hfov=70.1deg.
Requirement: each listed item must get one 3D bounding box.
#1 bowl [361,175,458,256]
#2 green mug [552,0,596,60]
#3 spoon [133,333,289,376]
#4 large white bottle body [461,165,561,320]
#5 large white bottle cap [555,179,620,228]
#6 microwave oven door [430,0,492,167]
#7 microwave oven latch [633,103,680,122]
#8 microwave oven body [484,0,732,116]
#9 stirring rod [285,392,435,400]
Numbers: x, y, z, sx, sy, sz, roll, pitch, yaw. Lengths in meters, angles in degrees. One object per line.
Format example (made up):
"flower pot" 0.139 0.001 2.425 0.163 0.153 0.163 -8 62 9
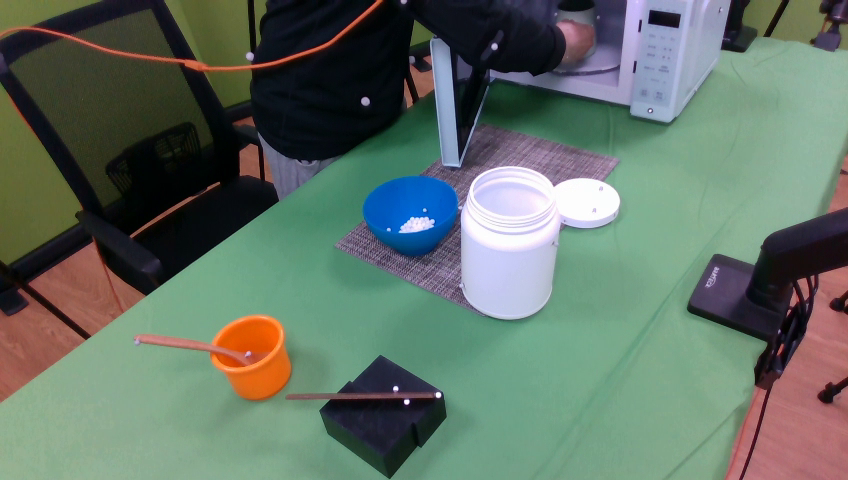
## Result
"bowl" -0.019 -0.028 0.955 0.151 0.077 0.150 -4 40 3
"green mug" 0.314 -0.434 1.271 0.092 0.105 0.125 9 50 16
"spoon" -0.257 0.137 0.747 0.021 0.195 0.041 -47 40 23
"large white bottle body" 0.115 0.004 0.816 0.130 0.185 0.130 -2 43 2
"large white bottle cap" 0.265 -0.062 1.001 0.115 0.018 0.114 -4 41 4
"microwave oven door" 0.079 -0.340 1.159 0.039 0.245 0.355 4 42 15
"microwave oven latch" 0.443 -0.249 1.157 0.078 0.029 0.030 21 49 30
"microwave oven body" 0.377 -0.462 1.267 0.438 0.261 0.327 21 49 30
"stirring rod" -0.075 0.180 0.698 0.176 0.006 0.014 -2 6 7
